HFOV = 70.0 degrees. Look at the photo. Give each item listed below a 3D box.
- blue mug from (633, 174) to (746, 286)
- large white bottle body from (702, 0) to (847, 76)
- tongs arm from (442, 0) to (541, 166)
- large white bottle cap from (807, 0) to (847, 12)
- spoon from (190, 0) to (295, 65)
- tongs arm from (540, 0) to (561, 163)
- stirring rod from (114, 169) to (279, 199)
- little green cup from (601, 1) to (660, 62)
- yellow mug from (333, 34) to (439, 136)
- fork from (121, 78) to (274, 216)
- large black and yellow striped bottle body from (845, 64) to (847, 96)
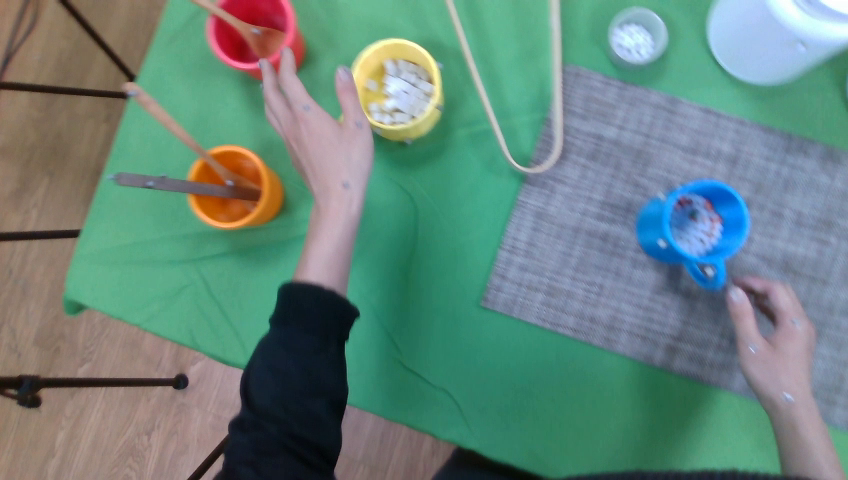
[{"bbox_3d":[0.283,-0.007,0.644,0.082,0.106,0.116,-20,88,3],"label":"blue mug"},{"bbox_3d":[0.375,-0.254,0.605,0.130,0.185,0.130,0,88,4],"label":"large white bottle body"},{"bbox_3d":[0.047,-0.260,0.680,0.051,0.026,0.385,-20,95,0],"label":"tongs arm"},{"bbox_3d":[0.368,-0.256,0.521,0.115,0.018,0.114,0,89,4],"label":"large white bottle cap"},{"bbox_3d":[-0.228,-0.253,0.665,0.195,0.021,0.041,25,94,-39],"label":"spoon"},{"bbox_3d":[0.129,-0.281,0.678,0.028,0.027,0.388,-6,95,-4],"label":"tongs arm"},{"bbox_3d":[-0.243,-0.061,0.666,0.177,0.006,0.014,5,84,-37],"label":"stirring rod"},{"bbox_3d":[0.232,-0.233,0.687,0.061,0.038,0.061,0,90,4],"label":"little green cup"},{"bbox_3d":[-0.047,-0.166,0.691,0.131,0.064,0.100,-33,88,4],"label":"yellow mug"},{"bbox_3d":[-0.241,-0.096,0.660,0.028,0.018,0.209,-44,130,-3],"label":"fork"},{"bbox_3d":[0.532,-0.182,0.594,0.131,0.184,0.130,0,88,4],"label":"large black and yellow striped bottle body"}]
